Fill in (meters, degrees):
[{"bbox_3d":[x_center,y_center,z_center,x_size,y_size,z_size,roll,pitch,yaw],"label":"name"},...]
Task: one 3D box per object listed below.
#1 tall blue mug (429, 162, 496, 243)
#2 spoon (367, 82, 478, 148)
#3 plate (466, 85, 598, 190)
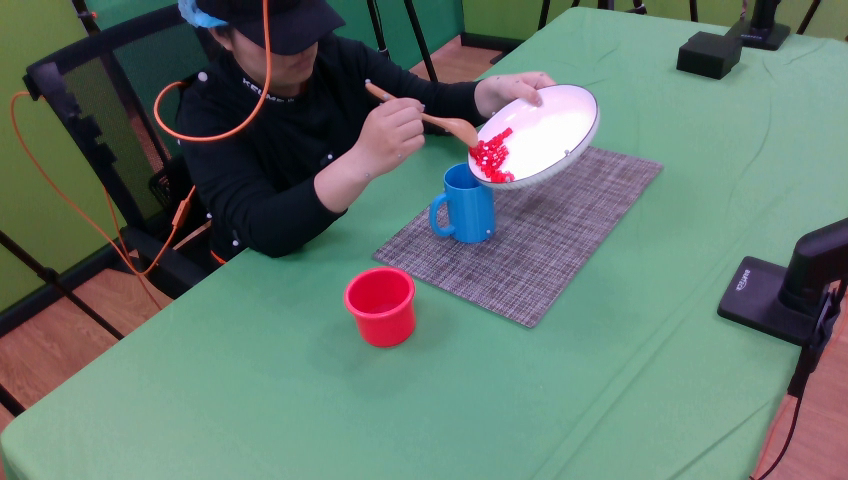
[{"bbox_3d":[0.067,-0.051,0.960,0.077,0.108,0.107,18,47,27],"label":"tall blue mug"},{"bbox_3d":[0.003,-0.178,0.862,0.195,0.021,0.041,18,58,-26],"label":"spoon"},{"bbox_3d":[0.163,-0.149,0.908,0.207,0.039,0.206,-23,39,21],"label":"plate"}]
